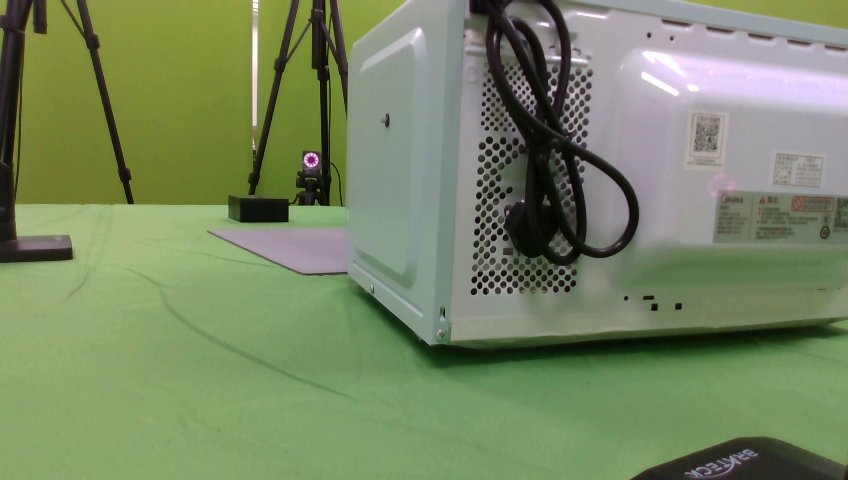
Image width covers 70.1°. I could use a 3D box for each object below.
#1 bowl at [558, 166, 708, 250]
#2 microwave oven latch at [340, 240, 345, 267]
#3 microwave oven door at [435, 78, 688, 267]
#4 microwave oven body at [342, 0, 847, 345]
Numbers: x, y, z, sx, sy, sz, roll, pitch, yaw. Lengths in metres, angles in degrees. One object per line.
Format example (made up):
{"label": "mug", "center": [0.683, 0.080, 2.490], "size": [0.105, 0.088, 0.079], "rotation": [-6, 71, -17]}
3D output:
{"label": "bowl", "center": [0.215, -0.034, 0.639], "size": [0.151, 0.077, 0.151], "rotation": [2, 11, 0]}
{"label": "microwave oven latch", "center": [-0.052, 0.017, 0.662], "size": [0.079, 0.029, 0.030], "rotation": [1, 7, -18]}
{"label": "microwave oven door", "center": [0.179, -0.102, 0.869], "size": [0.354, 0.243, 0.039], "rotation": [7, 9, 31]}
{"label": "microwave oven body", "center": [0.169, -0.059, 0.573], "size": [0.444, 0.260, 0.324], "rotation": [1, 7, -20]}
